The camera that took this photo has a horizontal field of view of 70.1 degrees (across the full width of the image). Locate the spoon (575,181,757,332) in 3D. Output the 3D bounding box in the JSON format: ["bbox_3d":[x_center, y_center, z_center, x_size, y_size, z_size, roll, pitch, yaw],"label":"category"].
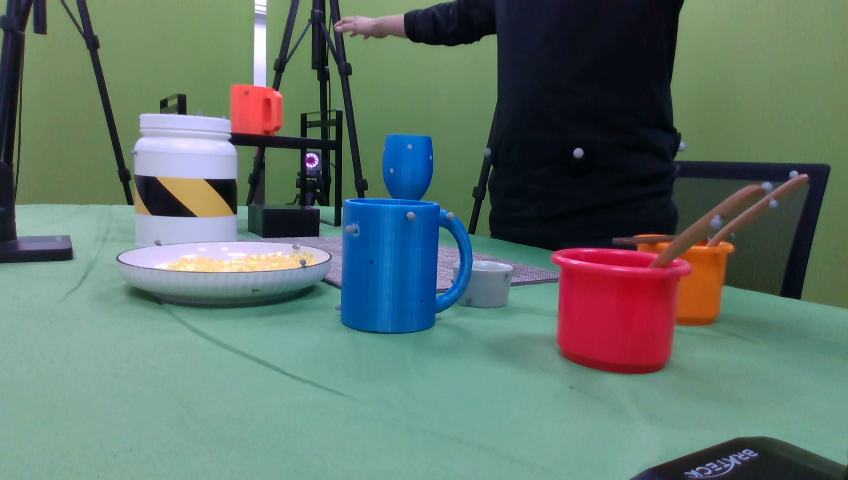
[{"bbox_3d":[0.156,0.020,0.412,0.042,0.021,0.193,1,-36,-16],"label":"spoon"}]

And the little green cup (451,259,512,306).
[{"bbox_3d":[0.057,0.043,0.611,0.061,0.038,0.061,3,7,0],"label":"little green cup"}]

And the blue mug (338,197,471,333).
[{"bbox_3d":[-0.016,0.018,0.523,0.117,0.106,0.082,1,7,-13],"label":"blue mug"}]

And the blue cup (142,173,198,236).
[{"bbox_3d":[-0.425,-0.060,1.014,0.093,0.100,0.092,4,9,0],"label":"blue cup"}]

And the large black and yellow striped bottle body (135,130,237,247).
[{"bbox_3d":[-0.327,-0.074,0.838,0.131,0.184,0.130,2,7,0],"label":"large black and yellow striped bottle body"}]

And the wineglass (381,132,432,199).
[{"bbox_3d":[-0.026,-0.062,0.841,0.074,0.172,0.073,2,8,0],"label":"wineglass"}]

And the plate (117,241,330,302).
[{"bbox_3d":[-0.203,0.031,0.630,0.209,0.038,0.209,3,7,0],"label":"plate"}]

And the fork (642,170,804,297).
[{"bbox_3d":[0.261,0.004,0.545,0.028,0.018,0.207,6,-38,-15],"label":"fork"}]

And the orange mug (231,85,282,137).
[{"bbox_3d":[-0.335,-0.261,1.225,0.125,0.100,0.084,2,6,35],"label":"orange mug"}]

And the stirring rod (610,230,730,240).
[{"bbox_3d":[0.241,-0.005,0.582,0.177,0.006,0.014,-2,9,-34],"label":"stirring rod"}]

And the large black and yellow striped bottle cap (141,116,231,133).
[{"bbox_3d":[-0.324,-0.157,0.826,0.115,0.019,0.115,1,7,0],"label":"large black and yellow striped bottle cap"}]
